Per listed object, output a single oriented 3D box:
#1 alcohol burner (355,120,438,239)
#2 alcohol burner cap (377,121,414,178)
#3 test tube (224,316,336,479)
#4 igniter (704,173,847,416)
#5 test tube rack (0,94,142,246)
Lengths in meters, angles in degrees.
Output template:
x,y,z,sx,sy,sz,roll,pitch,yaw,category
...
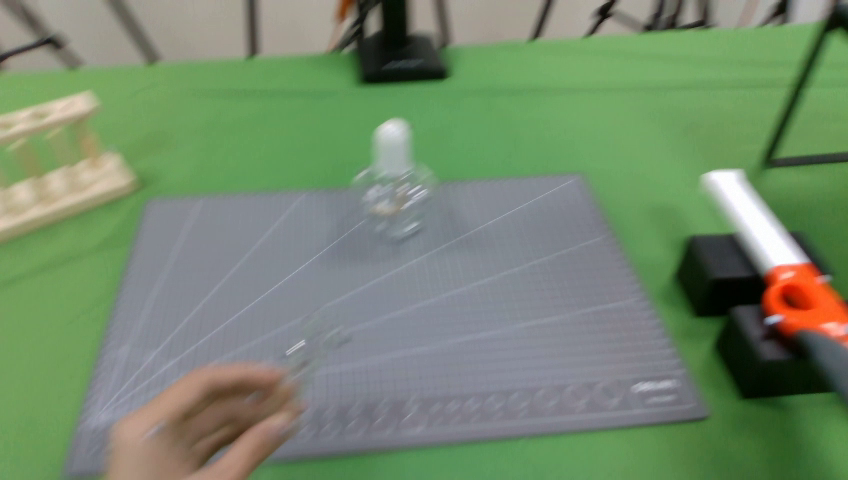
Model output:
x,y,z,sx,sy,sz,roll,pitch,yaw,category
-0.025,-0.058,0.552,0.078,0.120,0.077,2,44,-2,alcohol burner
-0.024,-0.082,0.531,0.034,0.048,0.033,3,42,-2,alcohol burner cap
-0.084,0.101,0.327,0.017,0.150,0.017,26,22,-11,test tube
0.279,0.034,0.459,0.057,0.025,0.273,-3,41,0,igniter
-0.403,-0.047,0.555,0.242,0.086,0.066,-27,50,-27,test tube rack
